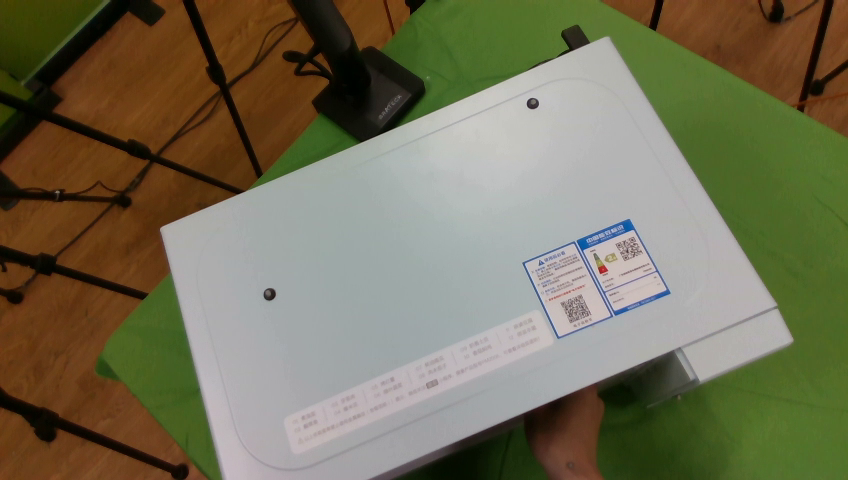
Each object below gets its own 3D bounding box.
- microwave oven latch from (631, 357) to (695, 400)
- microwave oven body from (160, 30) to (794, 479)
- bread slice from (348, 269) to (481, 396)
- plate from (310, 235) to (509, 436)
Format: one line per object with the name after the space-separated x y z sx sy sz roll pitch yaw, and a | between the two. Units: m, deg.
0.263 0.143 0.644 0.079 0.030 0.030 -22 70 2 | microwave oven latch
0.032 0.055 0.607 0.442 0.262 0.323 -23 70 1 | microwave oven body
-0.016 0.094 0.658 0.131 0.019 0.104 27 76 -1 | bread slice
-0.015 0.100 0.646 0.207 0.039 0.206 -1 79 4 | plate
